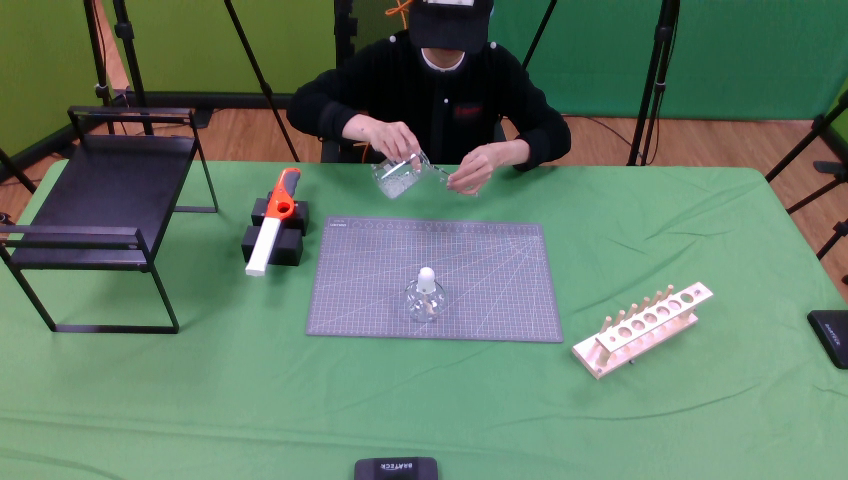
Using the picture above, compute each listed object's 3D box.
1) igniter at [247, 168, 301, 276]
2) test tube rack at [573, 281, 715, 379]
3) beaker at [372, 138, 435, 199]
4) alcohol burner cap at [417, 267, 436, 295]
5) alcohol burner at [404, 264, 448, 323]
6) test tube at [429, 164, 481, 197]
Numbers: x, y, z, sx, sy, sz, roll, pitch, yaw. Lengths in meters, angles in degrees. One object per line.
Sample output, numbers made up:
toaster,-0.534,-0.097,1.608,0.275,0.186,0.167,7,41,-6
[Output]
igniter,-0.282,-0.043,1.149,0.057,0.025,0.275,8,48,-1
test tube rack,0.378,0.140,1.038,0.242,0.085,0.066,-22,51,-23
beaker,-0.038,-0.128,1.122,0.100,0.084,0.073,-36,57,11
alcohol burner cap,0.004,0.066,1.019,0.034,0.048,0.033,0,47,1
alcohol burner,0.003,0.087,1.042,0.078,0.120,0.077,1,45,0
test tube,0.063,-0.115,1.196,0.151,0.017,0.017,25,29,-43
